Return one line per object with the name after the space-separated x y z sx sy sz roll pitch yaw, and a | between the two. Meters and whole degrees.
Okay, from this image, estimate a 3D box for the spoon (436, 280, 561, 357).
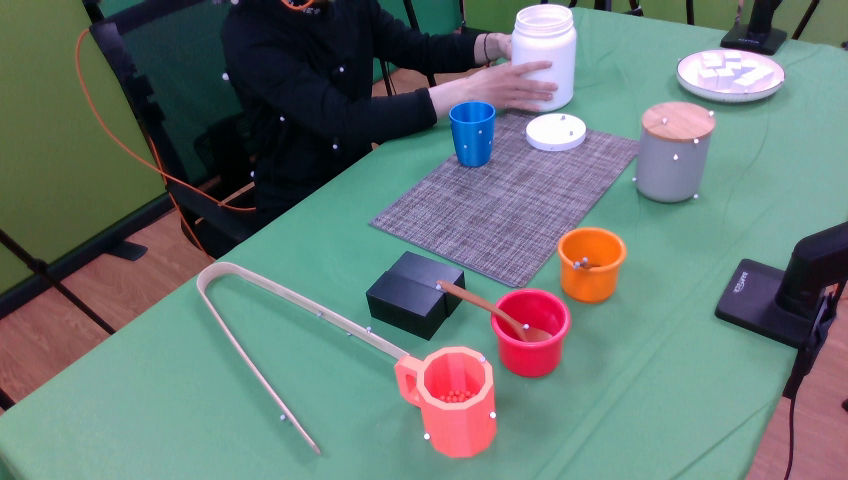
0.096 0.095 0.757 0.195 0.021 0.041 34 40 -20 | spoon

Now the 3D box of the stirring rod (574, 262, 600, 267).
0.222 0.033 0.816 0.014 0.006 0.177 7 1 22 | stirring rod

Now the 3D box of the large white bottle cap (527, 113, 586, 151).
0.259 -0.213 1.184 0.115 0.018 0.114 -5 41 5 | large white bottle cap

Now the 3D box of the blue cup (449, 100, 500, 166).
0.092 -0.194 1.123 0.092 0.100 0.092 -3 40 3 | blue cup

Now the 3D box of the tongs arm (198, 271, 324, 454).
-0.236 0.154 0.831 0.028 0.028 0.384 -37 48 -18 | tongs arm

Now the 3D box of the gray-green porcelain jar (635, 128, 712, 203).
0.405 -0.133 0.992 0.106 0.127 0.105 -4 40 4 | gray-green porcelain jar

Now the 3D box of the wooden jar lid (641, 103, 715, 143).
0.398 -0.180 0.952 0.108 0.021 0.108 -4 43 4 | wooden jar lid

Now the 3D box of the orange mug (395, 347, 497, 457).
0.024 0.180 0.703 0.125 0.101 0.083 21 48 23 | orange mug

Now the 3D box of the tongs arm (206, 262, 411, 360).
-0.179 0.106 0.870 0.382 0.027 0.051 23 55 32 | tongs arm

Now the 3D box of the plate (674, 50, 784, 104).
0.631 -0.336 1.262 0.207 0.039 0.206 -4 41 4 | plate

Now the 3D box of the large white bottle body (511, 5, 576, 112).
0.246 -0.375 1.252 0.130 0.185 0.130 -4 41 4 | large white bottle body
